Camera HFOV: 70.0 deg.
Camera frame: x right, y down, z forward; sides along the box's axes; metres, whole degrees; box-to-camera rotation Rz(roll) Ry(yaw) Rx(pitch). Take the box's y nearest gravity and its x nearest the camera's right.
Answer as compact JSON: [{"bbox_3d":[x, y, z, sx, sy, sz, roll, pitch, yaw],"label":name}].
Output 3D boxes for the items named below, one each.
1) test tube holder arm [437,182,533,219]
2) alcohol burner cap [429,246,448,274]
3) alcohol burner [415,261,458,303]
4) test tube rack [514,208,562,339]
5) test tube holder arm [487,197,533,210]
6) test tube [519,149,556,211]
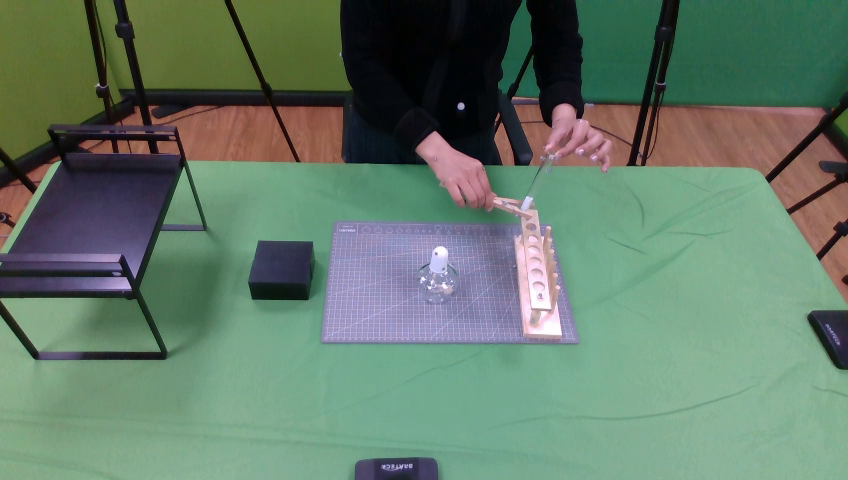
[{"bbox_3d":[0.111,-0.072,1.094,0.178,0.015,0.013,17,52,-3],"label":"test tube holder arm"},{"bbox_3d":[0.028,0.032,1.052,0.034,0.048,0.033,4,41,-3],"label":"alcohol burner cap"},{"bbox_3d":[0.024,0.057,1.078,0.078,0.119,0.077,3,44,-2],"label":"alcohol burner"},{"bbox_3d":[0.212,0.056,1.113,0.067,0.085,0.241,3,46,-1],"label":"test tube rack"},{"bbox_3d":[0.155,-0.066,1.102,0.088,0.015,0.010,6,54,-11],"label":"test tube holder arm"},{"bbox_3d":[0.196,-0.098,1.058,0.017,0.151,0.017,10,45,-10],"label":"test tube"}]
